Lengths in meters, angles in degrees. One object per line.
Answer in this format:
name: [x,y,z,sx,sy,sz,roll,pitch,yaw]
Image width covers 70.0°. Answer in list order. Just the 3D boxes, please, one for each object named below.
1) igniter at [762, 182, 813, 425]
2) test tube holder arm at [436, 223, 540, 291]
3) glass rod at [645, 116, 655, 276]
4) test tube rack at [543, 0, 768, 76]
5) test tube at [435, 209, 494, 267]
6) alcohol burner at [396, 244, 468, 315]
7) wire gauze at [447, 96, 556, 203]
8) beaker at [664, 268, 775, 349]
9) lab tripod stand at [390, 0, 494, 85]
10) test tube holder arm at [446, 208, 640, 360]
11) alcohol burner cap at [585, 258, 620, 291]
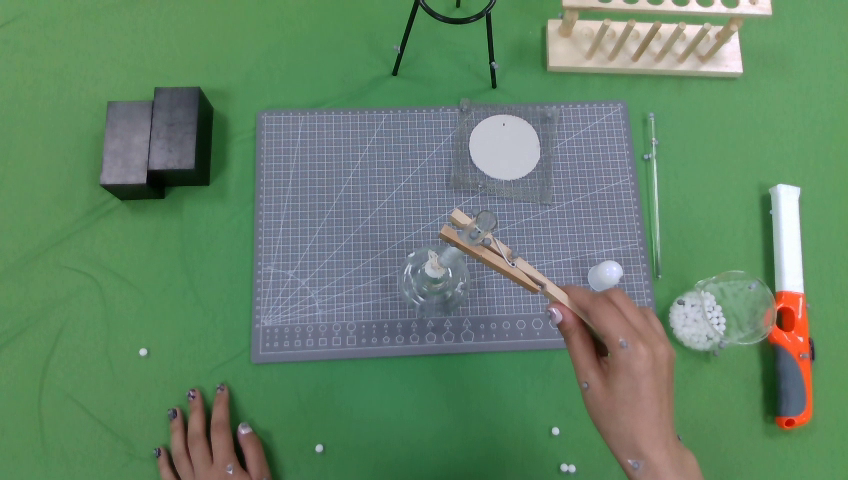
igniter: [0.407,0.067,0.683,0.057,0.025,0.275,9,75,-10]
test tube holder arm: [0.049,0.013,0.458,0.088,0.015,0.010,29,78,-1]
glass rod: [0.268,-0.055,0.719,0.008,0.008,0.199,3,78,-1]
test tube rack: [0.273,-0.253,0.730,0.242,0.085,0.066,1,75,-1]
test tube: [0.029,0.002,0.480,0.017,0.150,0.017,2,77,-9]
alcohol burner: [0.008,0.037,0.629,0.078,0.119,0.077,0,74,0]
wire gauze: [0.094,-0.111,0.725,0.125,0.011,0.121,9,76,0]
beaker: [0.303,0.074,0.640,0.084,0.101,0.074,29,76,7]
lab tripod stand: [0.027,-0.249,0.696,0.148,0.132,0.147,0,77,-1]
test tube holder arm: [0.090,0.034,0.459,0.178,0.015,0.013,36,79,1]
alcohol burner cap: [0.201,0.036,0.673,0.034,0.048,0.033,0,75,-1]
